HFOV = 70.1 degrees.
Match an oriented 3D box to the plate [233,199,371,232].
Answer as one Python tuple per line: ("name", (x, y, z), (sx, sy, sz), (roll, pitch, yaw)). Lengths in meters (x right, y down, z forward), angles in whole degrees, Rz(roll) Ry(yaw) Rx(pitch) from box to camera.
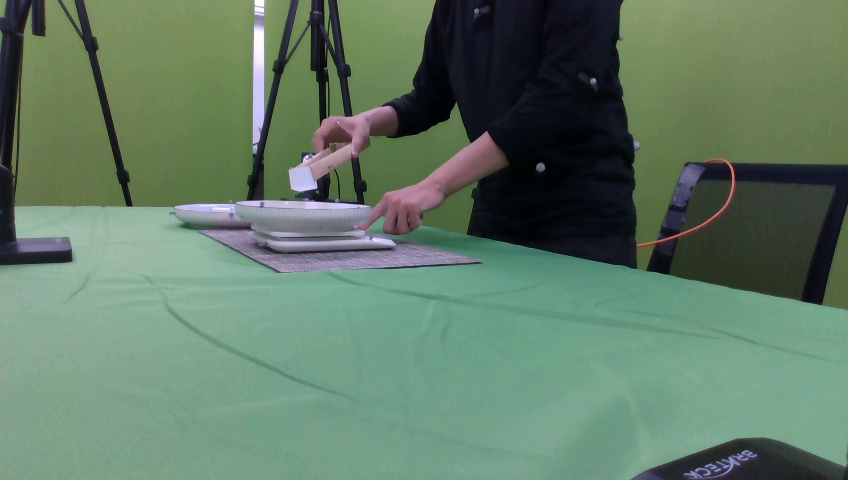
("plate", (-0.188, -0.039, 0.939), (0.209, 0.038, 0.209), (3, 7, 0))

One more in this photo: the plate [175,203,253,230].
("plate", (-0.381, -0.047, 1.199), (0.208, 0.039, 0.207), (3, 7, 0))

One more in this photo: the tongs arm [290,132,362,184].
("tongs arm", (-0.170, -0.160, 1.131), (0.051, 0.026, 0.384), (-14, 16, 9))

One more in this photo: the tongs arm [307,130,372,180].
("tongs arm", (-0.149, -0.165, 1.126), (0.028, 0.028, 0.387), (-16, 15, 14))

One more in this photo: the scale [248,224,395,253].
("scale", (-0.162, -0.006, 0.954), (0.202, 0.031, 0.148), (-1, 8, -31))
